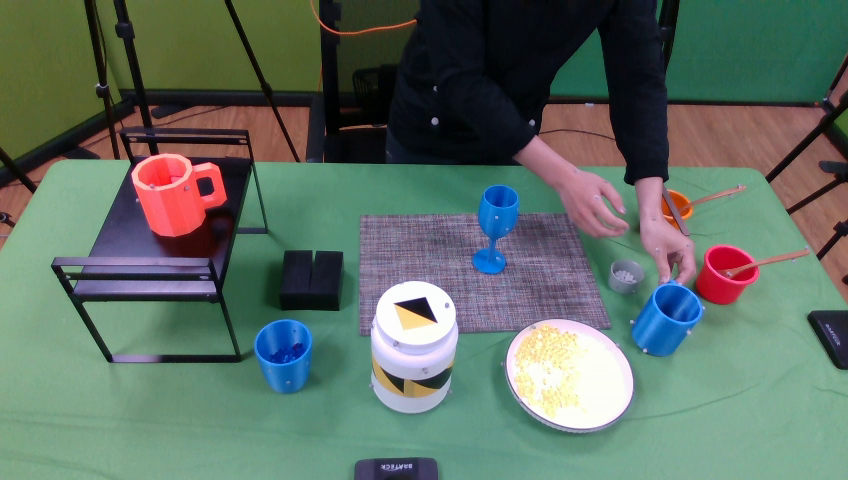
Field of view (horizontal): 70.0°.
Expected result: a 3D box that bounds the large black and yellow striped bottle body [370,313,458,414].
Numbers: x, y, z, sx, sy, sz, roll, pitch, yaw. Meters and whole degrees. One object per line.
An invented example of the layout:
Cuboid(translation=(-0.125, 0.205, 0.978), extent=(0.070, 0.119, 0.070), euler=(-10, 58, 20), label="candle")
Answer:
Cuboid(translation=(-0.017, 0.165, 0.924), extent=(0.131, 0.185, 0.130), euler=(2, 46, -2), label="large black and yellow striped bottle body")

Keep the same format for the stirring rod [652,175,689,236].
Cuboid(translation=(0.491, -0.072, 1.211), extent=(0.014, 0.006, 0.175), euler=(-1, 46, -6), label="stirring rod")

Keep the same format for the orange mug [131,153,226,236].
Cuboid(translation=(-0.375, -0.075, 0.937), extent=(0.126, 0.101, 0.083), euler=(-20, 50, -16), label="orange mug")

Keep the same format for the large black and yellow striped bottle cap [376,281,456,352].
Cuboid(translation=(-0.011, 0.107, 0.863), extent=(0.115, 0.019, 0.114), euler=(2, 47, -2), label="large black and yellow striped bottle cap")

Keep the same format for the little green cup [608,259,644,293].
Cuboid(translation=(0.379, 0.070, 1.147), extent=(0.061, 0.039, 0.061), euler=(2, 46, -2), label="little green cup")

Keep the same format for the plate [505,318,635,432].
Cuboid(translation=(0.235, 0.221, 0.991), extent=(0.209, 0.038, 0.208), euler=(2, 45, -2), label="plate")

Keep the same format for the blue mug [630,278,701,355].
Cuboid(translation=(0.413, 0.122, 1.043), extent=(0.082, 0.106, 0.116), euler=(14, 50, 5), label="blue mug")

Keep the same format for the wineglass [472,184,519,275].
Cuboid(translation=(0.129, -0.018, 1.112), extent=(0.074, 0.173, 0.073), euler=(2, 46, -2), label="wineglass")

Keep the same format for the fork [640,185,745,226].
Cuboid(translation=(0.534, -0.068, 1.215), extent=(0.207, 0.019, 0.028), euler=(-26, 28, 33), label="fork")

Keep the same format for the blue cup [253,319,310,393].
Cuboid(translation=(-0.217, 0.187, 0.943), extent=(0.093, 0.101, 0.092), euler=(3, 45, -3), label="blue cup")

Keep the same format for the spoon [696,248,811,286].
Cuboid(translation=(0.600, 0.048, 1.112), extent=(0.193, 0.022, 0.041), euler=(-25, 32, 35), label="spoon")
